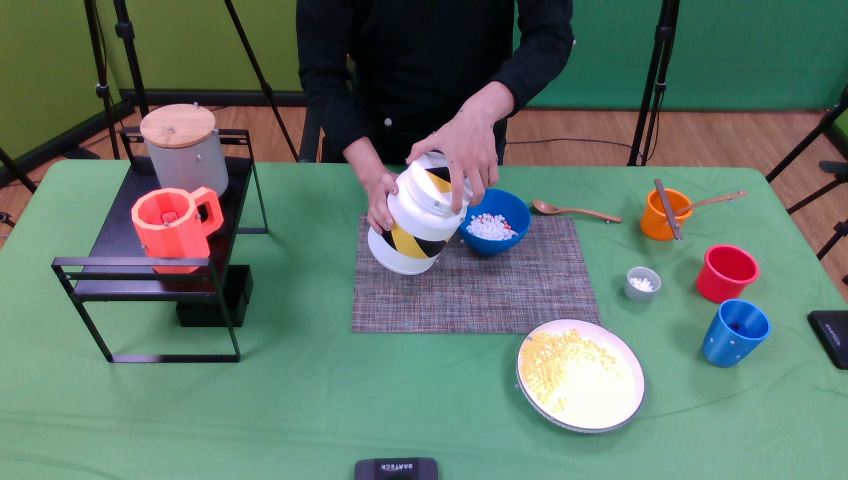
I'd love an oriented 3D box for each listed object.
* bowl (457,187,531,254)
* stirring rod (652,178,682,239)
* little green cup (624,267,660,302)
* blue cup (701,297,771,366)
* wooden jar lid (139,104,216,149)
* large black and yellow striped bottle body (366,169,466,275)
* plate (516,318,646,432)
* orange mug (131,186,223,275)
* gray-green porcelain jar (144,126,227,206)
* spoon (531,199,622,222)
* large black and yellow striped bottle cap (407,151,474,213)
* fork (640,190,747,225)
[{"bbox_3d":[0.129,-0.025,1.187,0.151,0.077,0.150,2,46,-2],"label":"bowl"},{"bbox_3d":[0.481,-0.065,1.204,0.014,0.006,0.175,2,46,-1],"label":"stirring rod"},{"bbox_3d":[0.406,0.084,1.135,0.061,0.039,0.061,3,45,-3],"label":"little green cup"},{"bbox_3d":[0.519,0.162,1.025,0.093,0.101,0.092,3,45,-3],"label":"blue cup"},{"bbox_3d":[-0.372,-0.169,0.920,0.108,0.021,0.107,4,44,-4],"label":"wooden jar lid"},{"bbox_3d":[-0.009,-0.040,1.027,0.131,0.184,0.130,16,47,-18],"label":"large black and yellow striped bottle body"},{"bbox_3d":[0.253,0.221,0.992,0.209,0.038,0.208,2,46,-2],"label":"plate"},{"bbox_3d":[-0.354,-0.023,0.887,0.083,0.101,0.126,31,56,24],"label":"orange mug"},{"bbox_3d":[-0.375,-0.125,0.967,0.106,0.127,0.105,2,46,-2],"label":"gray-green porcelain jar"},{"bbox_3d":[0.322,-0.060,1.279,0.194,0.022,0.041,8,32,5],"label":"spoon"},{"bbox_3d":[0.027,-0.094,0.967,0.115,0.019,0.114,17,48,-20],"label":"large black and yellow striped bottle cap"},{"bbox_3d":[0.533,-0.064,1.211,0.207,0.019,0.028,-22,28,38],"label":"fork"}]
